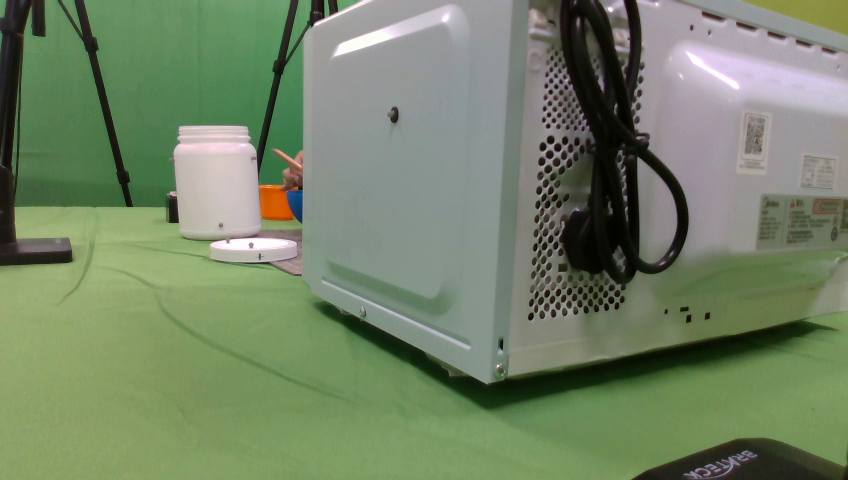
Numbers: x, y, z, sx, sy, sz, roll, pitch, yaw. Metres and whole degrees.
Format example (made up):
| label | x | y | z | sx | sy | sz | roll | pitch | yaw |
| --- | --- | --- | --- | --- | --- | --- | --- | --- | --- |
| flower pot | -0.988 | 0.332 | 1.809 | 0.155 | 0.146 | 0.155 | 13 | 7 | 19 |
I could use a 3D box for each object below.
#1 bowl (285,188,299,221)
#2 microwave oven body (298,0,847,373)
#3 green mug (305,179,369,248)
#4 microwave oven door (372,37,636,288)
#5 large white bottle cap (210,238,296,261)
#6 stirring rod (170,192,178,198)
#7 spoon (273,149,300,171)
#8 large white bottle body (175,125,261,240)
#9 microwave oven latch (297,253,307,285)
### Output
| label | x | y | z | sx | sy | sz | roll | pitch | yaw |
| --- | --- | --- | --- | --- | --- | --- | --- | --- | --- |
| bowl | -0.180 | -0.051 | 1.112 | 0.151 | 0.077 | 0.151 | 3 | 8 | 0 |
| microwave oven body | 0.151 | -0.055 | 0.542 | 0.444 | 0.260 | 0.324 | -2 | 7 | -33 |
| green mug | -0.133 | -0.044 | 0.977 | 0.092 | 0.105 | 0.126 | 6 | 8 | 32 |
| microwave oven door | 0.109 | -0.080 | 0.686 | 0.358 | 0.243 | 0.039 | -2 | 9 | -33 |
| large white bottle cap | -0.236 | 0.012 | 0.839 | 0.115 | 0.018 | 0.115 | 1 | 7 | 0 |
| stirring rod | -0.465 | -0.098 | 1.283 | 0.014 | 0.006 | 0.177 | 42 | 21 | 17 |
| spoon | -0.216 | -0.118 | 1.131 | 0.193 | 0.021 | 0.042 | 43 | 27 | 18 |
| large white bottle body | -0.349 | -0.099 | 1.025 | 0.131 | 0.184 | 0.130 | -1 | 9 | 0 |
| microwave oven latch | -0.082 | 0.027 | 0.582 | 0.079 | 0.029 | 0.030 | -1 | 7 | -32 |
